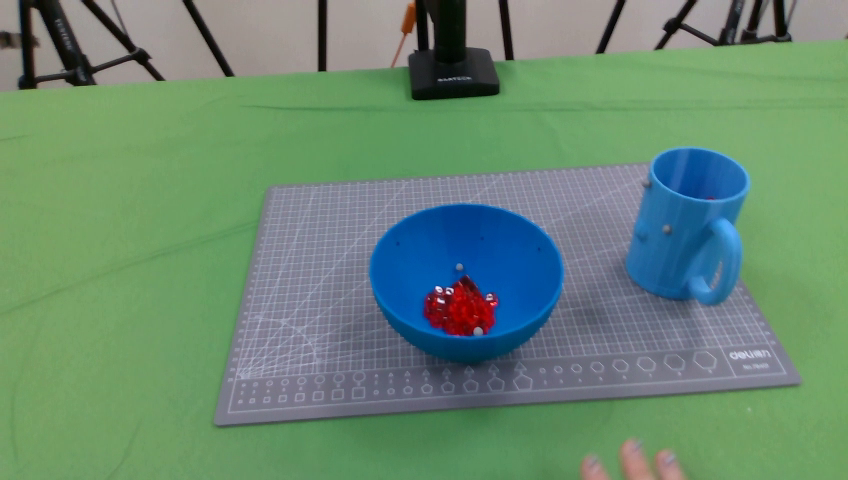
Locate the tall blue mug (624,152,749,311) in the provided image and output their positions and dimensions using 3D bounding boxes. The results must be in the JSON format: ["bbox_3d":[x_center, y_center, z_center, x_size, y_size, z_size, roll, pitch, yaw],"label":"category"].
[{"bbox_3d":[0.230,-0.001,0.513,0.078,0.109,0.106,-27,47,-26],"label":"tall blue mug"}]

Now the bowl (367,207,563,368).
[{"bbox_3d":[0.032,0.049,0.488,0.151,0.077,0.150,-1,42,1],"label":"bowl"}]
